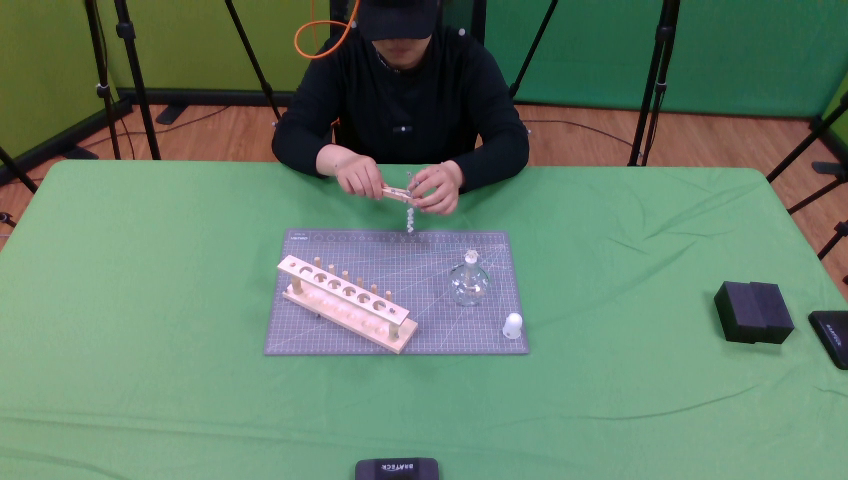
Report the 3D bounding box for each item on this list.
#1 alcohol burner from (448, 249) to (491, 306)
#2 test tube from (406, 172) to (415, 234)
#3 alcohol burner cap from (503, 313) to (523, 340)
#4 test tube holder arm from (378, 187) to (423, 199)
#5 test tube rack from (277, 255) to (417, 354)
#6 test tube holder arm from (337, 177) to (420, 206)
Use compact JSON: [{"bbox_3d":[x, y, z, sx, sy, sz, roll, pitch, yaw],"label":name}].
[{"bbox_3d":[0.081,0.062,1.078,0.078,0.120,0.077,1,45,-1],"label":"alcohol burner"},{"bbox_3d":[-0.026,-0.068,1.159,0.017,0.151,0.017,2,45,-1],"label":"test tube"},{"bbox_3d":[0.156,0.148,1.051,0.034,0.048,0.033,1,45,-1],"label":"alcohol burner cap"},{"bbox_3d":[-0.045,-0.090,1.157,0.088,0.015,0.010,6,39,6],"label":"test tube holder arm"},{"bbox_3d":[-0.131,0.099,1.045,0.241,0.085,0.066,23,49,17],"label":"test tube rack"},{"bbox_3d":[-0.089,-0.095,1.164,0.178,0.015,0.013,15,40,18],"label":"test tube holder arm"}]
